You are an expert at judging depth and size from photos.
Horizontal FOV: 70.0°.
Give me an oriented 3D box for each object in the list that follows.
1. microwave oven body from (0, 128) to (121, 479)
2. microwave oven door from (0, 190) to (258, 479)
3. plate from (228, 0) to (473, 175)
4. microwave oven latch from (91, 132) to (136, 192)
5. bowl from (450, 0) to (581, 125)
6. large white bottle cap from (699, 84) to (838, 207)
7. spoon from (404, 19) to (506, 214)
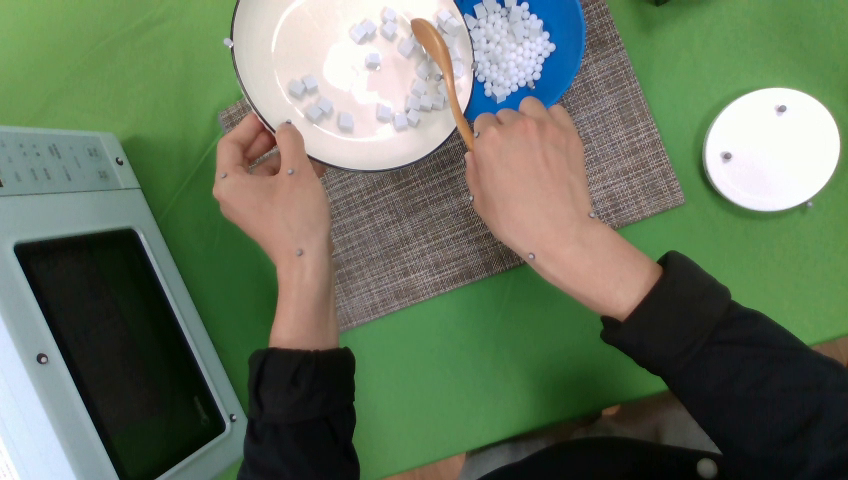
[{"bbox_3d":[-0.472,0.138,0.708,0.326,0.260,0.441,-25,91,18],"label":"microwave oven body"},{"bbox_3d":[-0.330,0.118,0.658,0.039,0.244,0.355,-25,90,18],"label":"microwave oven door"},{"bbox_3d":[-0.060,-0.155,0.527,0.210,0.038,0.208,3,83,-18],"label":"plate"},{"bbox_3d":[-0.391,-0.094,0.751,0.030,0.029,0.079,-24,91,18],"label":"microwave oven latch"},{"bbox_3d":[0.078,-0.186,0.591,0.151,0.077,0.151,2,99,17],"label":"bowl"},{"bbox_3d":[0.322,-0.087,0.569,0.114,0.018,0.115,2,99,15],"label":"large white bottle cap"},{"bbox_3d":[0.025,-0.105,0.503,0.021,0.042,0.192,-21,75,5],"label":"spoon"}]
